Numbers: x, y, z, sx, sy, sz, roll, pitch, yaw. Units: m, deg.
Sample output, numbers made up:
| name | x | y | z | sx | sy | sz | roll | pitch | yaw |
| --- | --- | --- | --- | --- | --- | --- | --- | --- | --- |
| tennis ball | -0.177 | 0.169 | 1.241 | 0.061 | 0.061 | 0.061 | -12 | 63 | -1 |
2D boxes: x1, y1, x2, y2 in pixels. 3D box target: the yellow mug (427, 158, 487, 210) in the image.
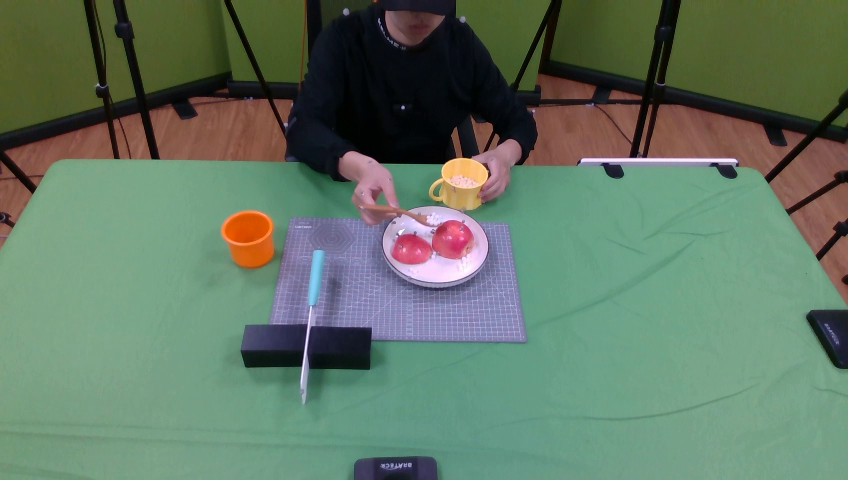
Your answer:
| name | x | y | z | sx | sy | sz | roll | pitch | yaw |
| --- | --- | --- | --- | --- | --- | --- | --- | --- | --- |
| yellow mug | 0.067 | -0.116 | 1.284 | 0.131 | 0.064 | 0.099 | -17 | 49 | -18 |

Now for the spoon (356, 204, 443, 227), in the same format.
| name | x | y | z | sx | sy | sz | roll | pitch | yaw |
| --- | --- | --- | --- | --- | --- | --- | --- | --- | --- |
| spoon | -0.041 | -0.047 | 1.087 | 0.195 | 0.021 | 0.041 | 13 | 25 | -42 |

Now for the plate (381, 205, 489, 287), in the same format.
| name | x | y | z | sx | sy | sz | roll | pitch | yaw |
| --- | --- | --- | --- | --- | --- | --- | --- | --- | --- |
| plate | 0.021 | 0.015 | 1.170 | 0.209 | 0.038 | 0.208 | 2 | 46 | -2 |

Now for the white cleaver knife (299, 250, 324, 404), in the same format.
| name | x | y | z | sx | sy | sz | roll | pitch | yaw |
| --- | --- | --- | --- | --- | --- | --- | --- | --- | --- |
| white cleaver knife | -0.194 | 0.134 | 1.019 | 0.021 | 0.066 | 0.284 | 5 | 50 | -5 |

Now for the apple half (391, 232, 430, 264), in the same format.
| name | x | y | z | sx | sy | sz | roll | pitch | yaw |
| --- | --- | --- | --- | --- | --- | --- | --- | --- | --- |
| apple half | -0.024 | 0.009 | 1.163 | 0.081 | 0.033 | 0.081 | 2 | 44 | -2 |

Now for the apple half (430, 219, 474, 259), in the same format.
| name | x | y | z | sx | sy | sz | roll | pitch | yaw |
| --- | --- | --- | --- | --- | --- | --- | --- | --- | --- |
| apple half | 0.056 | -0.008 | 1.172 | 0.081 | 0.053 | 0.074 | -33 | 59 | -31 |
